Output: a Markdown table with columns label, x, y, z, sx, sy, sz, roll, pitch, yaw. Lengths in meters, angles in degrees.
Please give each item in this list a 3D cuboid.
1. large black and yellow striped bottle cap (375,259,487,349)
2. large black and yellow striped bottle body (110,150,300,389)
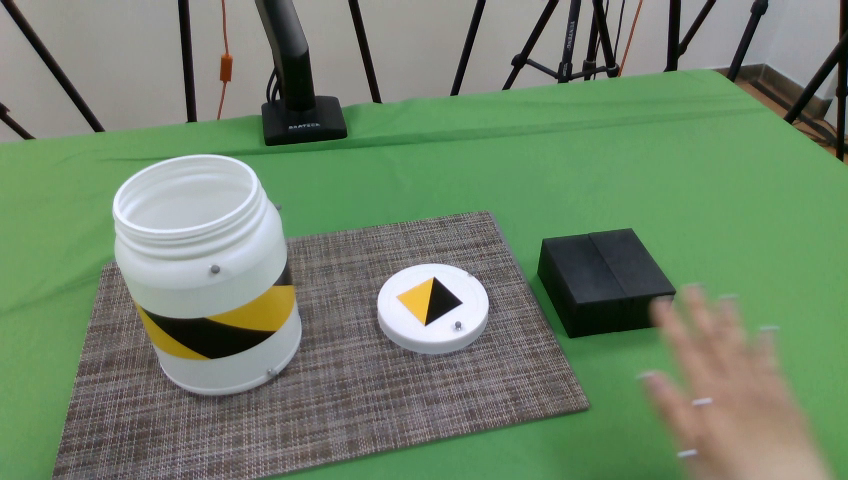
| label | x | y | z | sx | sy | sz | roll | pitch | yaw |
| --- | --- | --- | --- | --- | --- | --- | --- | --- | --- |
| large black and yellow striped bottle cap | 0.007 | 0.062 | 0.621 | 0.115 | 0.019 | 0.114 | 0 | 40 | 1 |
| large black and yellow striped bottle body | -0.186 | 0.027 | 0.530 | 0.131 | 0.185 | 0.129 | 0 | 40 | 0 |
